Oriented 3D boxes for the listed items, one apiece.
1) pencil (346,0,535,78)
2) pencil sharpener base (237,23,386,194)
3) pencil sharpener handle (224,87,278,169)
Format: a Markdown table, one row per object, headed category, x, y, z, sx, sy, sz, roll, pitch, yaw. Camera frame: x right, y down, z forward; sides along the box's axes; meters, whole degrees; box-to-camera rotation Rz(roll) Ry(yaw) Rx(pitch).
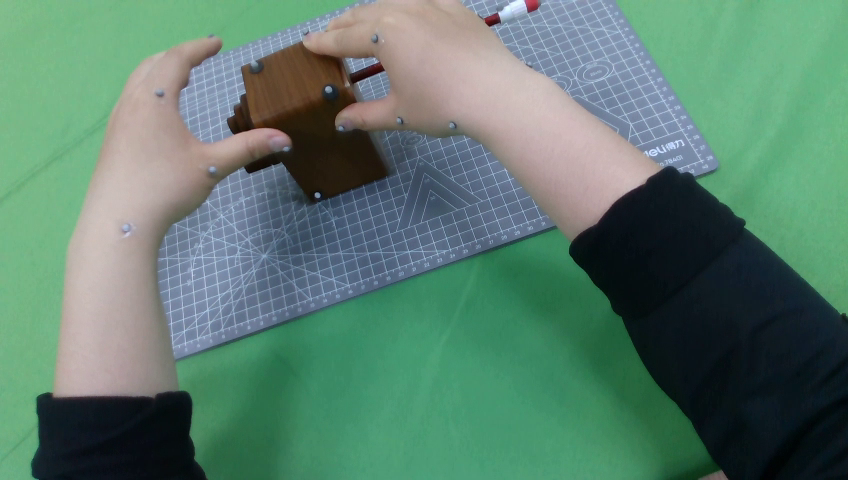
| category | x | y | z | sx | sy | sz | roll | pitch | yaw |
| --- | --- | --- | --- | --- | --- | --- | --- | --- | --- |
| pencil | -0.014 | -0.134 | 0.425 | 0.194 | 0.012 | 0.012 | -22 | 61 | 3 |
| pencil sharpener base | -0.082 | -0.092 | 0.453 | 0.076 | 0.108 | 0.061 | -22 | 61 | 3 |
| pencil sharpener handle | -0.132 | -0.078 | 0.444 | 0.030 | 0.068 | 0.035 | -22 | 58 | 3 |
